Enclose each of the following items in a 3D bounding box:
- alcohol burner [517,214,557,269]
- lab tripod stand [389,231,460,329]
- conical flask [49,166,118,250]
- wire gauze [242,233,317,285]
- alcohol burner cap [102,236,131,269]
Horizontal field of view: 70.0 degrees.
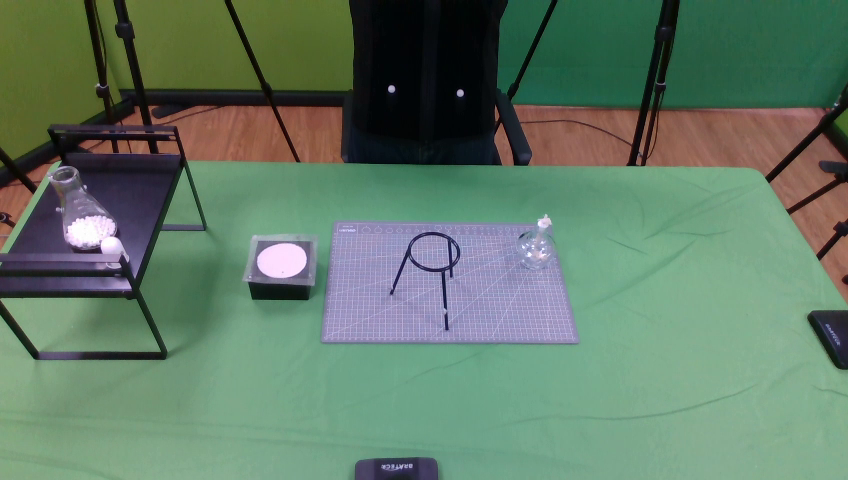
[{"bbox_3d":[0.217,-0.002,1.149,0.078,0.120,0.077,2,44,-2],"label":"alcohol burner"},{"bbox_3d":[0.015,0.063,1.058,0.148,0.132,0.147,4,46,-4],"label":"lab tripod stand"},{"bbox_3d":[-0.505,-0.051,0.888,0.075,0.122,0.075,2,45,-2],"label":"conical flask"},{"bbox_3d":[-0.257,0.032,1.088,0.125,0.011,0.120,1,44,-5],"label":"wire gauze"},{"bbox_3d":[-0.451,0.016,0.883,0.034,0.048,0.033,3,44,-3],"label":"alcohol burner cap"}]
